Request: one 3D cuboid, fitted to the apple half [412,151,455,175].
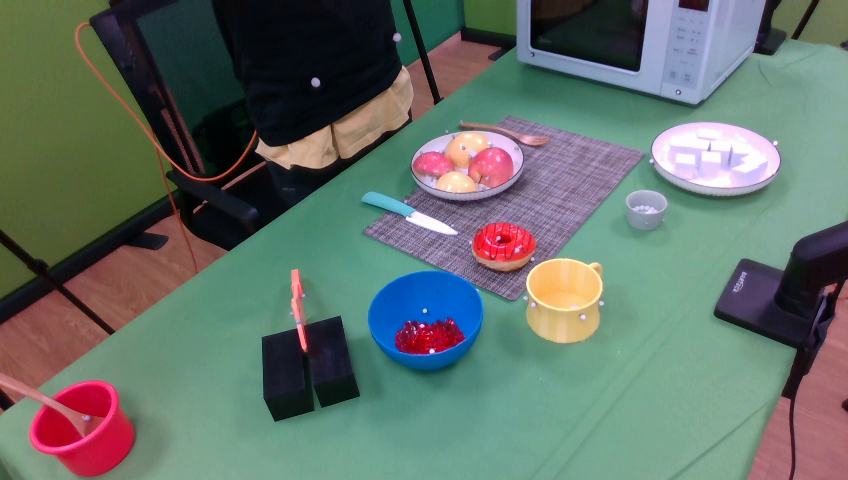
[{"bbox_3d":[0.022,-0.144,1.097,0.081,0.033,0.081,7,22,-2],"label":"apple half"}]

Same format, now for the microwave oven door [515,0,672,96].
[{"bbox_3d":[0.343,-0.454,1.259,0.353,0.245,0.039,26,51,33],"label":"microwave oven door"}]

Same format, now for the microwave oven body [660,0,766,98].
[{"bbox_3d":[0.472,-0.513,1.317,0.438,0.261,0.327,26,51,34],"label":"microwave oven body"}]

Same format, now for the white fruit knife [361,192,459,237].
[{"bbox_3d":[-0.025,-0.045,1.033,0.206,0.016,0.027,24,80,30],"label":"white fruit knife"}]

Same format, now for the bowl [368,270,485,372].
[{"bbox_3d":[0.007,0.118,0.791,0.151,0.077,0.150,-5,40,4],"label":"bowl"}]

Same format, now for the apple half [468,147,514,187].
[{"bbox_3d":[0.119,-0.137,1.073,0.080,0.053,0.075,25,49,38],"label":"apple half"}]

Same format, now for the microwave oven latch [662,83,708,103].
[{"bbox_3d":[0.517,-0.296,1.204,0.078,0.029,0.030,28,52,35],"label":"microwave oven latch"}]

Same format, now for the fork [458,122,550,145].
[{"bbox_3d":[0.154,-0.215,1.204,0.206,0.019,0.028,20,57,29],"label":"fork"}]

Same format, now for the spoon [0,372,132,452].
[{"bbox_3d":[-0.439,0.195,0.715,0.195,0.021,0.041,37,42,-16],"label":"spoon"}]

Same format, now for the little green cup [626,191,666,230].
[{"bbox_3d":[0.352,-0.046,0.963,0.061,0.039,0.061,-4,40,4],"label":"little green cup"}]

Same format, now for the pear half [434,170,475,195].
[{"bbox_3d":[0.052,-0.105,1.051,0.071,0.031,0.087,-5,32,-28],"label":"pear half"}]

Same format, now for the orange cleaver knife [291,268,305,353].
[{"bbox_3d":[-0.175,0.093,0.844,0.012,0.077,0.210,-11,15,-10],"label":"orange cleaver knife"}]

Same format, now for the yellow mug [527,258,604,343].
[{"bbox_3d":[0.201,0.073,0.825,0.131,0.064,0.099,-32,46,-27],"label":"yellow mug"}]

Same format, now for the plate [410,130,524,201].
[{"bbox_3d":[0.079,-0.133,1.101,0.209,0.038,0.208,-4,40,4],"label":"plate"}]

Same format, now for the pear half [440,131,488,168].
[{"bbox_3d":[0.064,-0.173,1.129,0.110,0.056,0.076,-6,36,5],"label":"pear half"}]

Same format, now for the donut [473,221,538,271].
[{"bbox_3d":[0.123,0.008,0.923,0.099,0.048,0.098,-3,38,3],"label":"donut"}]

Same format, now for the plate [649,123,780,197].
[{"bbox_3d":[0.497,-0.135,1.046,0.207,0.039,0.206,-4,40,4],"label":"plate"}]
